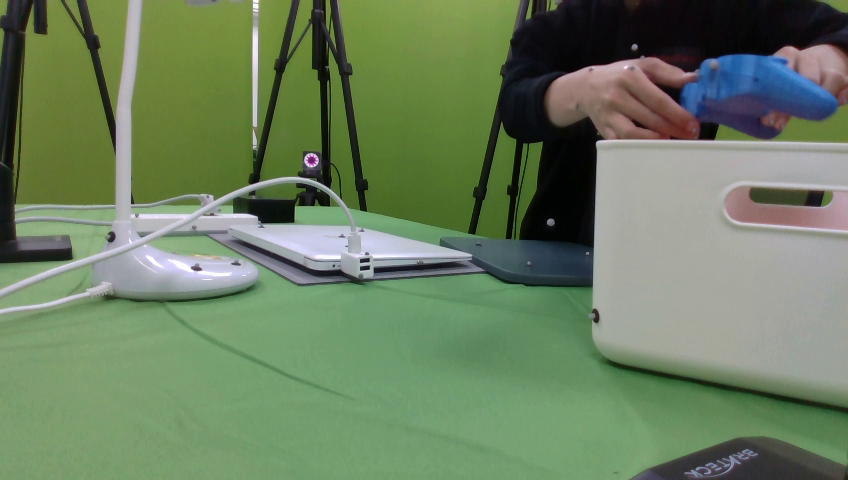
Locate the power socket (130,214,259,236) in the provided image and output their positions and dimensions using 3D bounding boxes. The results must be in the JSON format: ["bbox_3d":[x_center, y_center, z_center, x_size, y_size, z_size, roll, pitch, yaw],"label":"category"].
[{"bbox_3d":[-0.397,-0.028,1.048,0.228,0.032,0.072,-3,7,-35],"label":"power socket"}]

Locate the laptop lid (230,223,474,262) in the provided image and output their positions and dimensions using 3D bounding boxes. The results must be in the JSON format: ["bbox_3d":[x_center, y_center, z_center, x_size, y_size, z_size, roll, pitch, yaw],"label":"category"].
[{"bbox_3d":[-0.121,0.000,0.888,0.243,0.013,0.355,1,7,-33],"label":"laptop lid"}]

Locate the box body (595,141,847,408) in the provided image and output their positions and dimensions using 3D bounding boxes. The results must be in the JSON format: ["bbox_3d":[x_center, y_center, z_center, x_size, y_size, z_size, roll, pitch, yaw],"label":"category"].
[{"bbox_3d":[0.309,0.007,0.510,0.253,0.160,0.366,6,8,29],"label":"box body"}]

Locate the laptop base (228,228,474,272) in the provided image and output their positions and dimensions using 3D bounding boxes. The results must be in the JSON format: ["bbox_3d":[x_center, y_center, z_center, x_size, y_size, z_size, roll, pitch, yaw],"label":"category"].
[{"bbox_3d":[-0.123,0.012,0.889,0.237,0.023,0.352,2,6,-35],"label":"laptop base"}]

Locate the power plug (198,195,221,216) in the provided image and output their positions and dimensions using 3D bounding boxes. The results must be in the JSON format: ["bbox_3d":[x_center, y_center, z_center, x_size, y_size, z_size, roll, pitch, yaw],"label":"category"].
[{"bbox_3d":[-0.386,-0.055,1.088,0.035,0.052,0.072,-1,6,-24],"label":"power plug"}]

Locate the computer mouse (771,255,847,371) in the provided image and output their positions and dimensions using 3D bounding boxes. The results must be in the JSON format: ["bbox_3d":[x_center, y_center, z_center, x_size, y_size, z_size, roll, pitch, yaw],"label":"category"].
[{"bbox_3d":[0.345,0.057,0.519,0.063,0.041,0.117,11,47,4],"label":"computer mouse"}]

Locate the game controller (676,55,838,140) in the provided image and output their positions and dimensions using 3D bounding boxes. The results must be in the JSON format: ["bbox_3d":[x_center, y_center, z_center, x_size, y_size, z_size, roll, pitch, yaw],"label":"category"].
[{"bbox_3d":[0.271,-0.122,0.509,0.097,0.051,0.155,10,5,15],"label":"game controller"}]

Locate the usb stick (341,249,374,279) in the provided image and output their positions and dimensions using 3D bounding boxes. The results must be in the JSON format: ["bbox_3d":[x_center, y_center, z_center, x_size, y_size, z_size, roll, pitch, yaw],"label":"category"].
[{"bbox_3d":[-0.078,0.026,0.686,0.021,0.027,0.059,-8,8,-30],"label":"usb stick"}]

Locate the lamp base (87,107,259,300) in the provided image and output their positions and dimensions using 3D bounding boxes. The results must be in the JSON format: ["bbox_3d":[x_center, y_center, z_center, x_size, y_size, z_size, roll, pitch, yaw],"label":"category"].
[{"bbox_3d":[-0.254,-0.039,0.603,0.160,0.180,0.179,5,10,18],"label":"lamp base"}]

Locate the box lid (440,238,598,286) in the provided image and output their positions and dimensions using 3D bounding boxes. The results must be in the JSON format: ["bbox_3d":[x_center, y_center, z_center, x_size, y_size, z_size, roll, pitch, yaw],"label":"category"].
[{"bbox_3d":[0.188,0.029,0.901,0.264,0.015,0.370,2,7,-14],"label":"box lid"}]

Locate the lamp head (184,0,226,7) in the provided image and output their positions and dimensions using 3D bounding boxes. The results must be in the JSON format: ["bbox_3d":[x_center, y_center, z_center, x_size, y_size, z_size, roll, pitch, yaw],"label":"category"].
[{"bbox_3d":[-0.229,-0.320,0.627,0.112,0.112,0.123,6,-35,26],"label":"lamp head"}]
